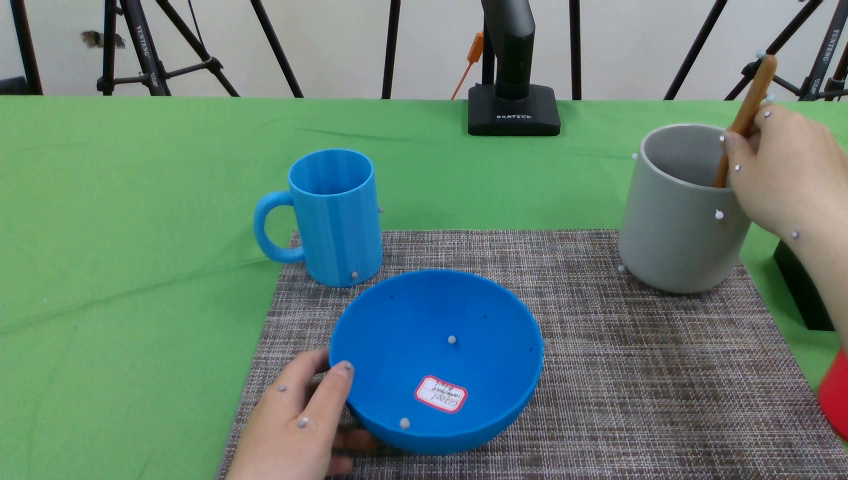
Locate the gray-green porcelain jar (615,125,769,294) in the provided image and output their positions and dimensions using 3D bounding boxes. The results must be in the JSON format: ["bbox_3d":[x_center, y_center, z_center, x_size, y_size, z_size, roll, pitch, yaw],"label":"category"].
[{"bbox_3d":[0.233,-0.023,0.547,0.106,0.127,0.105,-1,41,1],"label":"gray-green porcelain jar"}]

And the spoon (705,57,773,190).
[{"bbox_3d":[0.245,-0.062,0.493,0.021,0.195,0.041,-13,51,-1],"label":"spoon"}]

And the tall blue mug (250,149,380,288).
[{"bbox_3d":[-0.094,-0.012,0.558,0.107,0.109,0.077,-32,50,-31],"label":"tall blue mug"}]

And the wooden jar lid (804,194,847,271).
[{"bbox_3d":[0.390,-0.002,0.529,0.108,0.021,0.107,-1,40,1],"label":"wooden jar lid"}]

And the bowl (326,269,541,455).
[{"bbox_3d":[0.008,0.100,0.446,0.151,0.077,0.150,-1,40,1],"label":"bowl"}]
